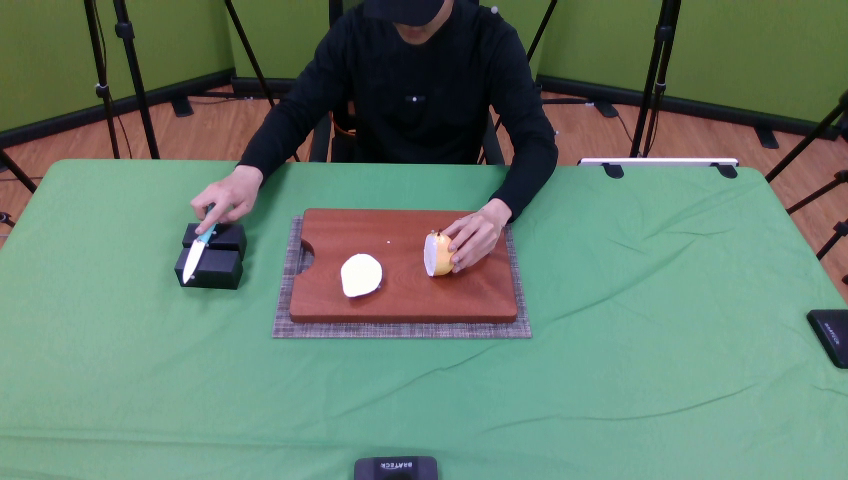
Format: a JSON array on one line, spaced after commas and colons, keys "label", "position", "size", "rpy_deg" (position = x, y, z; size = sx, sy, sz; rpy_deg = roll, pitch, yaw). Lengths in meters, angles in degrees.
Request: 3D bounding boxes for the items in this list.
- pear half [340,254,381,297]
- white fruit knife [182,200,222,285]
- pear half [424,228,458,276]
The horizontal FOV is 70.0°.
[{"label": "pear half", "position": [-0.116, 0.068, 1.074], "size": [0.070, 0.031, 0.088], "rpy_deg": [31, 64, 5]}, {"label": "white fruit knife", "position": [-0.403, 0.001, 1.102], "size": [0.027, 0.016, 0.206], "rpy_deg": [0, 48, 3]}, {"label": "pear half", "position": [0.035, 0.014, 1.083], "size": [0.056, 0.110, 0.076], "rpy_deg": [-12, 56, -16]}]
